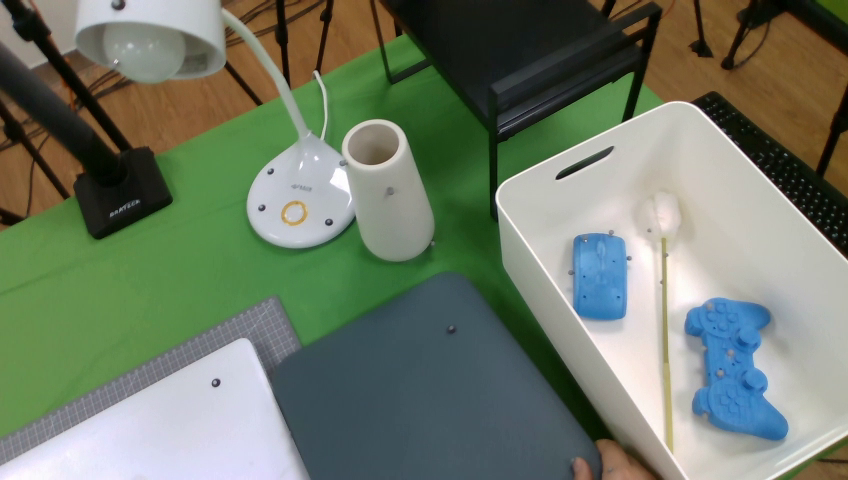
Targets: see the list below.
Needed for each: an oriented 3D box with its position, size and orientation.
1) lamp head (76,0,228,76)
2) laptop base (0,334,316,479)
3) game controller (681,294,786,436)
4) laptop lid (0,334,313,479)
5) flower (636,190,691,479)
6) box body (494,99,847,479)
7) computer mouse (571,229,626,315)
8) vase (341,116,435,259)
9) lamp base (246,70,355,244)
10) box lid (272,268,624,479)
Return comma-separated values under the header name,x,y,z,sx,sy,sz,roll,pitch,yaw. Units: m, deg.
name,x,y,z,sx,sy,sz,roll,pitch,yaw
lamp head,-0.214,-0.206,0.490,0.112,0.113,0.122,-2,79,5
laptop base,-0.309,0.283,0.667,0.354,0.023,0.233,-29,67,-9
game controller,0.339,0.129,0.663,0.097,0.052,0.154,3,61,9
laptop lid,-0.309,0.280,0.657,0.357,0.013,0.239,-27,65,-9
flower,0.282,0.101,0.697,0.044,0.038,0.358,-13,57,30
box body,0.267,0.061,0.648,0.254,0.162,0.360,-26,62,-8
computer mouse,0.211,0.035,0.731,0.062,0.041,0.116,4,58,12
vase,-0.044,-0.058,0.724,0.098,0.202,0.097,-3,60,6
lamp base,-0.174,-0.113,0.778,0.160,0.182,0.177,1,59,7
box lid,0.015,0.204,0.625,0.263,0.015,0.367,-28,54,-11
